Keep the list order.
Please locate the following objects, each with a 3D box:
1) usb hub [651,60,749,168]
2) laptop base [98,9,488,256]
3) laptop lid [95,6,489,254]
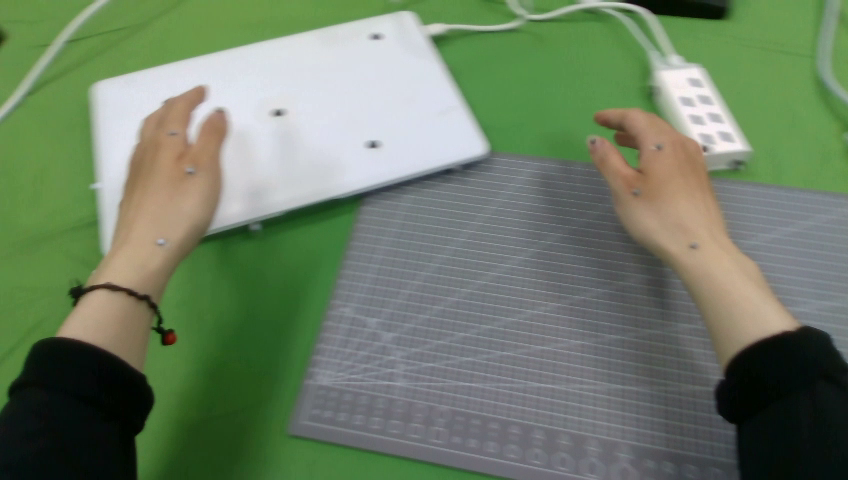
[{"bbox_3d":[0.265,-0.125,0.590,0.049,0.025,0.124,-6,55,-2],"label":"usb hub"},{"bbox_3d":[-0.139,-0.120,0.607,0.355,0.023,0.233,-17,59,-9],"label":"laptop base"},{"bbox_3d":[-0.139,-0.126,0.596,0.357,0.013,0.239,-15,58,-8],"label":"laptop lid"}]
